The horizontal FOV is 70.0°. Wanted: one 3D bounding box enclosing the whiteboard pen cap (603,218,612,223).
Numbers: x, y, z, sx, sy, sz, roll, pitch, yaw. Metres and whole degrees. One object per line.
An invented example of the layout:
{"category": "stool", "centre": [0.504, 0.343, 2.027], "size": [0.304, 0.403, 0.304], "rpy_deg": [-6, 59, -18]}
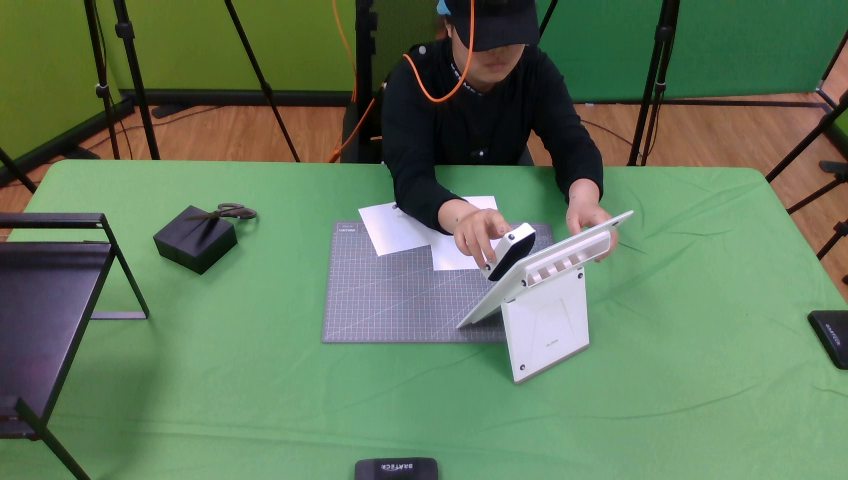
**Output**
{"category": "whiteboard pen cap", "centre": [0.378, -0.032, 1.255], "size": [0.033, 0.018, 0.018], "rpy_deg": [-33, 56, -30]}

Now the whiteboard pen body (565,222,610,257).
{"category": "whiteboard pen body", "centre": [0.335, -0.004, 1.228], "size": [0.141, 0.017, 0.017], "rpy_deg": [-32, 56, -29]}

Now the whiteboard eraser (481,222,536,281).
{"category": "whiteboard eraser", "centre": [0.132, 0.022, 0.938], "size": [0.055, 0.113, 0.041], "rpy_deg": [-24, 68, -29]}

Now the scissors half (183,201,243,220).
{"category": "scissors half", "centre": [-0.405, -0.054, 1.163], "size": [0.040, 0.013, 0.175], "rpy_deg": [29, 18, 7]}

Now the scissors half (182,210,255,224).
{"category": "scissors half", "centre": [-0.389, -0.043, 1.158], "size": [0.040, 0.013, 0.175], "rpy_deg": [40, 21, 23]}

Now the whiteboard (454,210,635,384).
{"category": "whiteboard", "centre": [0.210, 0.110, 0.955], "size": [0.217, 0.306, 0.143], "rpy_deg": [-21, 72, -23]}
